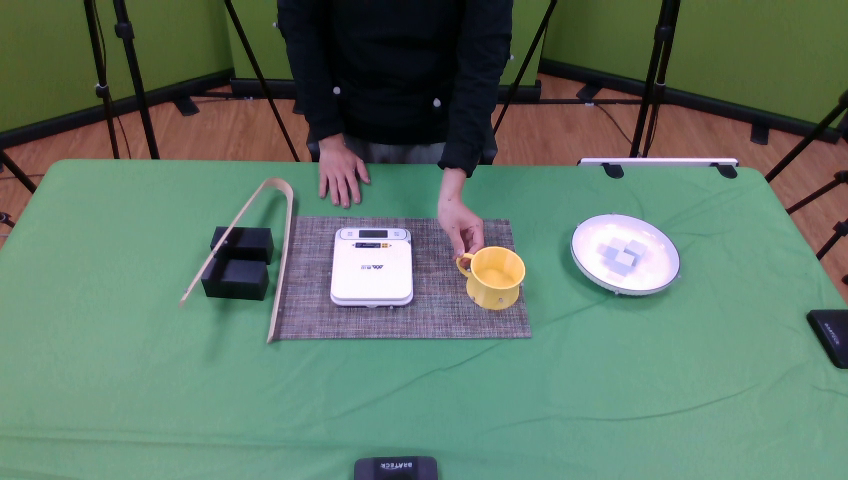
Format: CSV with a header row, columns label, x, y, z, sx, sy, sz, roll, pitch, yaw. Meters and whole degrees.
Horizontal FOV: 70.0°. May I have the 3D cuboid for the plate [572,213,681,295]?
label,x,y,z,sx,sy,sz,roll,pitch,yaw
plate,0.392,0.030,1.189,0.208,0.039,0.206,2,46,-2

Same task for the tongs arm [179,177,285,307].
label,x,y,z,sx,sy,sz,roll,pitch,yaw
tongs arm,-0.342,-0.008,1.117,0.051,0.026,0.382,29,38,-13

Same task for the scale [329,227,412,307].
label,x,y,z,sx,sy,sz,roll,pitch,yaw
scale,-0.099,0.042,1.139,0.149,0.032,0.199,1,45,-4

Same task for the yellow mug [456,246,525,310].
label,x,y,z,sx,sy,sz,roll,pitch,yaw
yellow mug,0.117,0.061,1.109,0.130,0.064,0.099,25,51,17

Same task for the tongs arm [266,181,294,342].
label,x,y,z,sx,sy,sz,roll,pitch,yaw
tongs arm,-0.273,0.027,1.144,0.028,0.028,0.385,17,42,-22
